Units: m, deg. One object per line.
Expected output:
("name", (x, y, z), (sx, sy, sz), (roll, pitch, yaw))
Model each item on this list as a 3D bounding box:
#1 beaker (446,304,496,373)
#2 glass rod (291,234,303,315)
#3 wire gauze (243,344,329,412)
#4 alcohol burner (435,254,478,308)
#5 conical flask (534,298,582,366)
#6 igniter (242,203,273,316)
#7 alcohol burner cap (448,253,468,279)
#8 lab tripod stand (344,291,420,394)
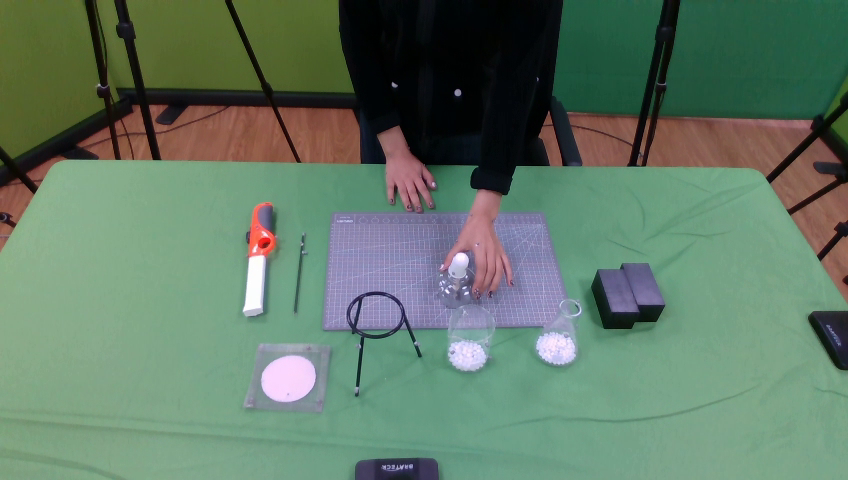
("beaker", (0.072, 0.166, 0.992), (0.084, 0.101, 0.073), (-21, 51, -22))
("glass rod", (-0.237, 0.060, 1.134), (0.008, 0.008, 0.198), (0, 46, -4))
("wire gauze", (-0.221, 0.219, 0.980), (0.125, 0.011, 0.120), (2, 45, 0))
("alcohol burner", (0.059, 0.066, 1.073), (0.078, 0.120, 0.077), (2, 48, -2))
("conical flask", (0.229, 0.149, 1.005), (0.075, 0.122, 0.075), (2, 46, -2))
("igniter", (-0.315, 0.027, 1.145), (0.057, 0.025, 0.274), (-10, 47, 0))
("alcohol burner cap", (0.060, 0.042, 1.046), (0.034, 0.048, 0.033), (5, 51, -6))
("lab tripod stand", (-0.075, 0.155, 0.967), (0.148, 0.132, 0.147), (3, 44, -3))
